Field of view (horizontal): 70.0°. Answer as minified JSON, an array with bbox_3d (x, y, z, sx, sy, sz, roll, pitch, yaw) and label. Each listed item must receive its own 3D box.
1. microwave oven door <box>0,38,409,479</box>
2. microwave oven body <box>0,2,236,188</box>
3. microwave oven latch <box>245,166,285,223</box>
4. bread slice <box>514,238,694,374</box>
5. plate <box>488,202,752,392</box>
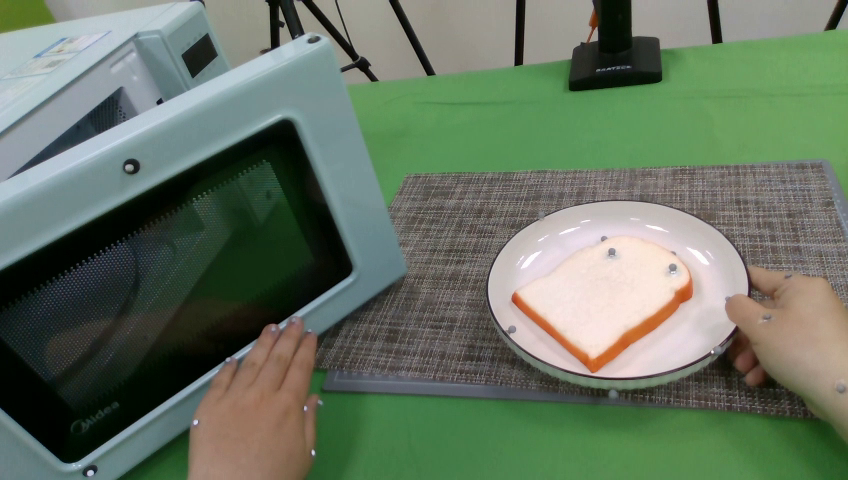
[{"bbox_3d":[-0.186,0.032,0.465,0.356,0.246,0.039,-35,42,-22],"label":"microwave oven door"},{"bbox_3d":[-0.402,-0.010,0.603,0.325,0.263,0.438,-1,42,19],"label":"microwave oven body"},{"bbox_3d":[-0.198,-0.056,0.742,0.030,0.030,0.078,1,42,20],"label":"microwave oven latch"},{"bbox_3d":[0.156,0.044,0.514,0.131,0.019,0.103,-30,40,-17],"label":"bread slice"},{"bbox_3d":[0.159,0.044,0.511,0.209,0.038,0.207,-10,38,9],"label":"plate"}]
